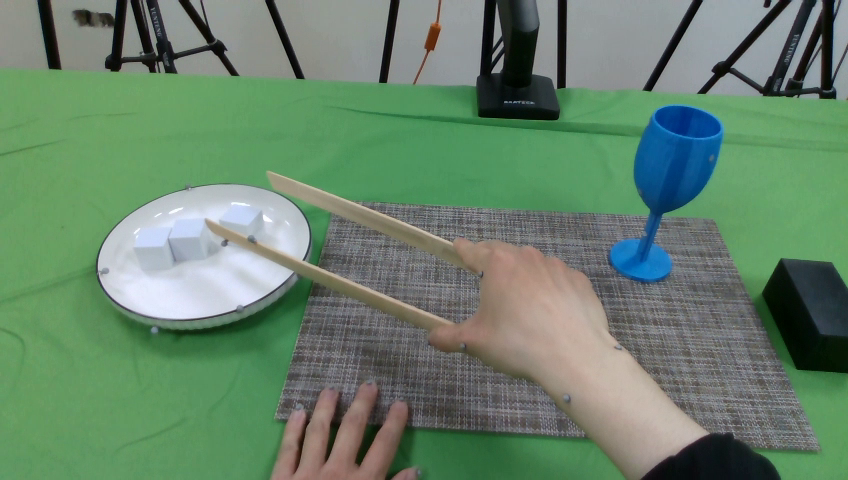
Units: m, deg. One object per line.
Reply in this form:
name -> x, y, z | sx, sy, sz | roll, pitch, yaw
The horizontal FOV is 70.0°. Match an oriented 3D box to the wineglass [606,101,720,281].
wineglass -> 0.233, -0.045, 0.603 | 0.074, 0.174, 0.073 | 1, 42, -1

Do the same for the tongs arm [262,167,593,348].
tongs arm -> -0.021, -0.001, 0.543 | 0.384, 0.028, 0.028 | 24, 51, 32

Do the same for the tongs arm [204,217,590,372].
tongs arm -> -0.048, 0.030, 0.519 | 0.381, 0.027, 0.050 | 21, 53, 30

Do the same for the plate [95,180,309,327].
plate -> -0.222, 0.013, 0.626 | 0.209, 0.038, 0.207 | 1, 42, -1
